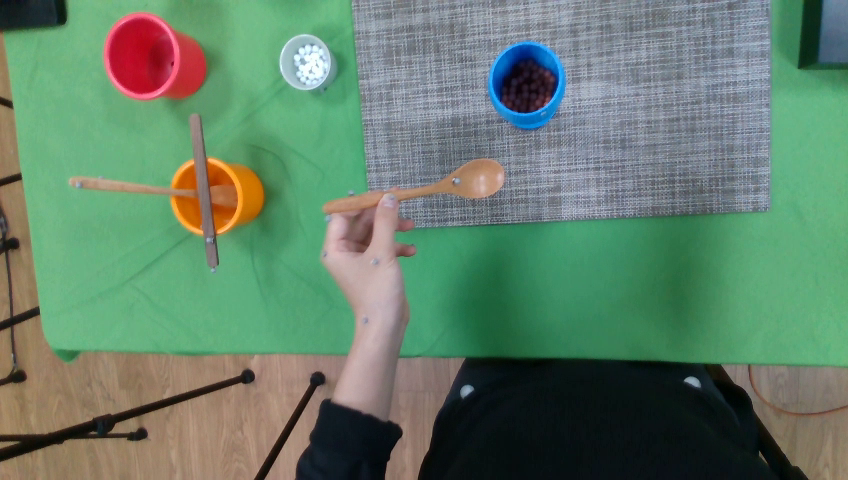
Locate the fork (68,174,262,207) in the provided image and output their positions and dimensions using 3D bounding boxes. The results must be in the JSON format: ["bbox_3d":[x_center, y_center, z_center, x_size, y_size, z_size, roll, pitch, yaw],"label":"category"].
[{"bbox_3d":[-0.294,-0.059,0.705,0.209,0.018,0.028,3,108,-34],"label":"fork"}]

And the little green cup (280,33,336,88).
[{"bbox_3d":[-0.133,-0.207,0.710,0.061,0.038,0.061,2,99,11],"label":"little green cup"}]

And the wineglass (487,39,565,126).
[{"bbox_3d":[0.102,-0.151,0.602,0.073,0.172,0.074,1,98,11],"label":"wineglass"}]

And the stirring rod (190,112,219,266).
[{"bbox_3d":[-0.252,-0.057,0.695,0.014,0.006,0.176,-3,97,11],"label":"stirring rod"}]

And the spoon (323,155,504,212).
[{"bbox_3d":[-0.005,-0.051,0.581,0.194,0.021,0.042,-14,117,-30],"label":"spoon"}]
